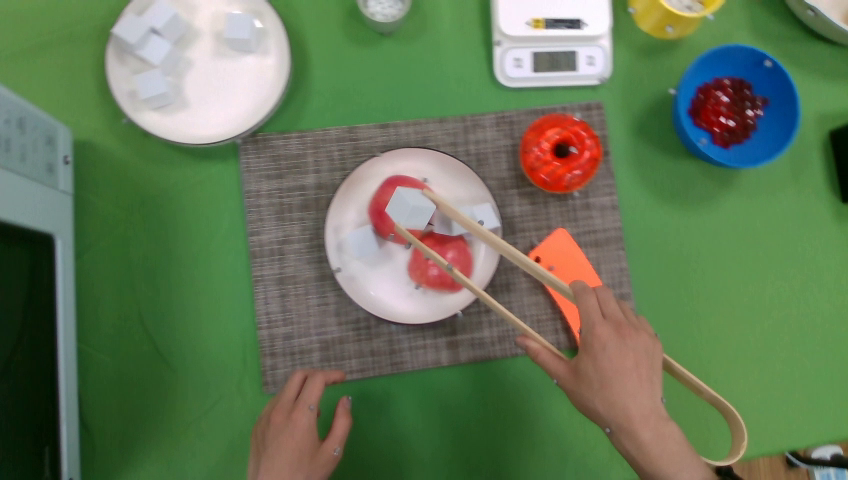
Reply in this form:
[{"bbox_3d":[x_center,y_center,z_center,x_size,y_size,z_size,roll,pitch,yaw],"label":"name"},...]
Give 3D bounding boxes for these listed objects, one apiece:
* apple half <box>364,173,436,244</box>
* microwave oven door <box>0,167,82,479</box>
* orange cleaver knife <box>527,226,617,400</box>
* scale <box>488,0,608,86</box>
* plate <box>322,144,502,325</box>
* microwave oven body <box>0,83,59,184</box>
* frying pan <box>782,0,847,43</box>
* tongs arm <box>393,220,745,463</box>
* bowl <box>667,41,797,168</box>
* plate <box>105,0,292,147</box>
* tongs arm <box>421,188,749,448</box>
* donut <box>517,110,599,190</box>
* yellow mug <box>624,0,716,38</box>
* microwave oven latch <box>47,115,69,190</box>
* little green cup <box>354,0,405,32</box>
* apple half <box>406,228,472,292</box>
[{"bbox_3d":[-0.027,-0.041,0.695,0.074,0.053,0.080,37,81,3],"label":"apple half"},{"bbox_3d":[-0.386,0.110,0.545,0.039,0.244,0.355,-5,84,-5],"label":"microwave oven door"},{"bbox_3d":[0.192,0.086,0.726,0.077,0.012,0.211,-25,86,-12],"label":"orange cleaver knife"},{"bbox_3d":[0.154,-0.295,0.760,0.149,0.031,0.200,-3,85,-5],"label":"scale"},{"bbox_3d":[-0.013,-0.006,0.708,0.209,0.038,0.208,1,84,-5],"label":"plate"},{"bbox_3d":[-0.535,0.079,0.541,0.326,0.260,0.440,-4,85,-6],"label":"microwave oven body"},{"bbox_3d":[0.631,-0.300,0.766,0.307,0.103,0.485,-34,80,-6],"label":"frying pan"},{"bbox_3d":[0.129,0.088,0.585,0.383,0.027,0.050,40,73,12],"label":"tongs arm"},{"bbox_3d":[0.359,-0.155,0.740,0.151,0.077,0.151,1,84,-5],"label":"bowl"},{"bbox_3d":[-0.259,-0.208,0.711,0.208,0.039,0.207,1,84,-5],"label":"plate"},{"bbox_3d":[0.147,0.066,0.593,0.386,0.028,0.028,37,69,11],"label":"tongs arm"},{"bbox_3d":[0.160,-0.108,0.731,0.099,0.048,0.099,0,85,-3],"label":"donut"},{"bbox_3d":[0.301,-0.326,0.758,0.100,0.064,0.130,-40,88,-7],"label":"yellow mug"},{"bbox_3d":[-0.410,-0.096,0.667,0.030,0.029,0.079,-3,85,-6],"label":"microwave oven latch"},{"bbox_3d":[-0.053,-0.286,0.737,0.061,0.038,0.061,1,83,-4],"label":"little green cup"},{"bbox_3d":[0.018,0.021,0.700,0.081,0.033,0.081,0,87,0],"label":"apple half"}]
